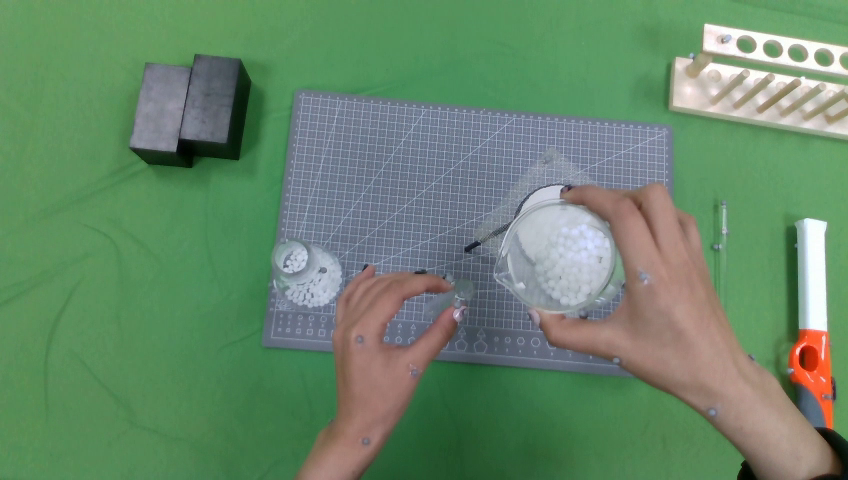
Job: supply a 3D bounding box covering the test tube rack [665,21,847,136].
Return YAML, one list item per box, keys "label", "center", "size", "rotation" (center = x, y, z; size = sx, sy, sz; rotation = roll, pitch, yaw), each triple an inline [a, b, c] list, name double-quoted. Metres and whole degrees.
- label: "test tube rack"
  center: [0.419, -0.184, 0.704]
  size: [0.242, 0.085, 0.066]
  rotation: [9, 78, -1]

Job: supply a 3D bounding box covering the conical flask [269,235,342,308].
- label: "conical flask"
  center: [-0.125, 0.026, 0.609]
  size: [0.075, 0.122, 0.075]
  rotation: [1, 78, -3]

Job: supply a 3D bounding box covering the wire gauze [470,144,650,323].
- label: "wire gauze"
  center: [0.125, -0.010, 0.556]
  size: [0.125, 0.011, 0.121]
  rotation: [42, 80, 6]

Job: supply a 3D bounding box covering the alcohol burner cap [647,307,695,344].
- label: "alcohol burner cap"
  center: [0.241, 0.081, 0.586]
  size: [0.034, 0.048, 0.033]
  rotation: [2, 72, -6]

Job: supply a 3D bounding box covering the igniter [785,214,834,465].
- label: "igniter"
  center: [0.429, 0.107, 0.674]
  size: [0.057, 0.025, 0.275]
  rotation: [9, 78, -12]

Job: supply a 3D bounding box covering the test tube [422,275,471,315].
- label: "test tube"
  center: [0.016, 0.048, 0.500]
  size: [0.017, 0.150, 0.017]
  rotation: [2, 77, -8]

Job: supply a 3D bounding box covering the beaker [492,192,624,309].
- label: "beaker"
  center: [0.100, 0.014, 0.432]
  size: [0.084, 0.101, 0.073]
  rotation: [-19, 76, 20]

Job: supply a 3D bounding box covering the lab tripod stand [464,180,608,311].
- label: "lab tripod stand"
  center: [0.119, 0.002, 0.622]
  size: [0.148, 0.132, 0.148]
  rotation: [0, 79, -1]

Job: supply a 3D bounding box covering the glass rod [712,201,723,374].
- label: "glass rod"
  center: [0.335, 0.052, 0.691]
  size: [0.008, 0.008, 0.199]
  rotation: [6, 81, -2]

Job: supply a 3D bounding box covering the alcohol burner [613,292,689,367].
- label: "alcohol burner"
  center: [0.239, 0.090, 0.621]
  size: [0.078, 0.119, 0.077]
  rotation: [0, 77, 0]
